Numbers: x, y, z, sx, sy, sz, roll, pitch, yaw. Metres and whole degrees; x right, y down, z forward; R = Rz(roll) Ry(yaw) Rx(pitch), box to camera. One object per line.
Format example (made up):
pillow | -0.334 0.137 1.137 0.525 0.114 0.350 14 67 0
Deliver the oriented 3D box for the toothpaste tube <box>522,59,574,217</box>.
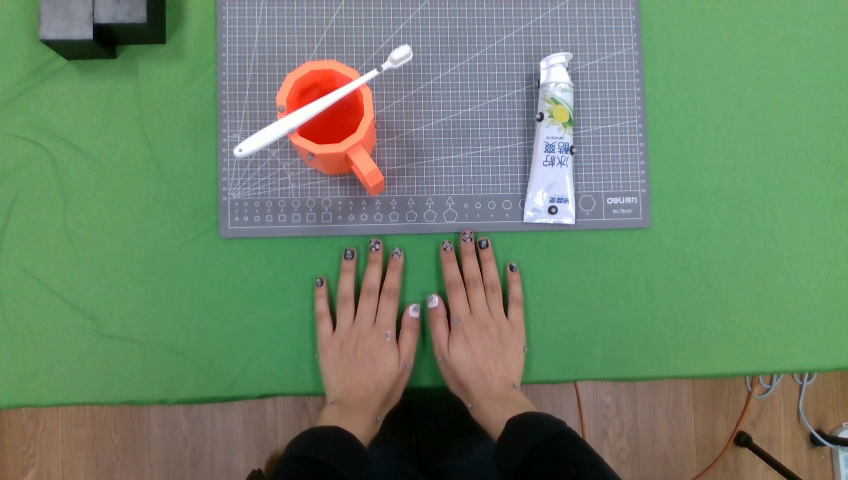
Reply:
toothpaste tube | 0.132 -0.107 0.632 0.055 0.034 0.165 1 90 4

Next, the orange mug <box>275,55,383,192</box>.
orange mug | -0.081 -0.104 0.582 0.083 0.101 0.126 -36 85 -5

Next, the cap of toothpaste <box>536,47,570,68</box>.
cap of toothpaste | 0.135 -0.189 0.631 0.037 0.037 0.011 -11 83 -5

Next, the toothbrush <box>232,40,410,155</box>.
toothbrush | -0.089 -0.125 0.531 0.182 0.016 0.014 -33 95 -5
